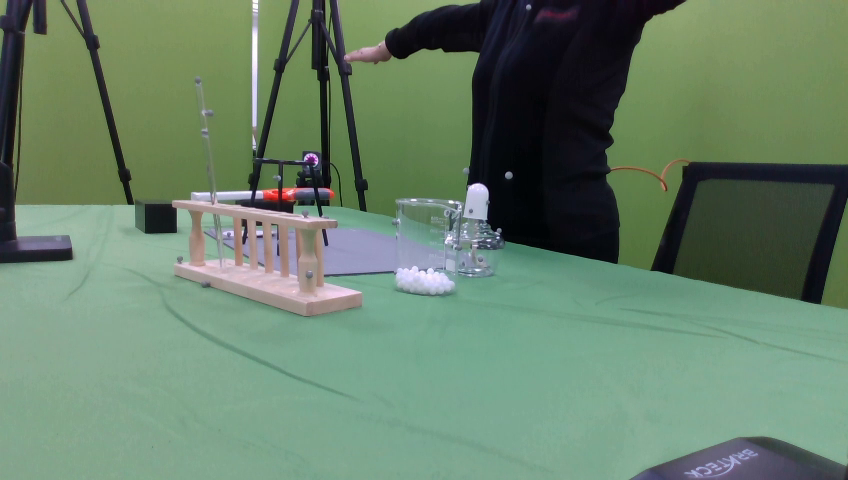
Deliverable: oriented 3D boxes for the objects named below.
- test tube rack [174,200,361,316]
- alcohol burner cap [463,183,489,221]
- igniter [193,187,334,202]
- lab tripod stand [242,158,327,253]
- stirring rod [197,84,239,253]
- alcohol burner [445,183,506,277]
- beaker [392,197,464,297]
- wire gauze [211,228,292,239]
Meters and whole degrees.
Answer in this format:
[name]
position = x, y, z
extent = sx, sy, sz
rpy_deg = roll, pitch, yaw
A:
[test tube rack]
position = -0.169, 0.009, 0.622
extent = 0.241, 0.085, 0.067
rpy_deg = 9, 9, 41
[alcohol burner cap]
position = 0.067, -0.049, 0.765
extent = 0.034, 0.048, 0.034
rpy_deg = 5, 5, 0
[igniter]
position = -0.316, -0.090, 1.213
extent = 0.278, 0.025, 0.057
rpy_deg = -5, 13, -31
[lab tripod stand]
position = -0.207, -0.054, 0.895
extent = 0.148, 0.131, 0.148
rpy_deg = 2, 5, 0
[stirring rod]
position = -0.212, -0.072, 0.625
extent = 0.006, 0.176, 0.014
rpy_deg = -14, 12, -22
[alcohol burner]
position = 0.066, -0.013, 0.771
extent = 0.078, 0.119, 0.078
rpy_deg = 0, 7, 0
[beaker]
position = 0.005, 0.007, 0.647
extent = 0.074, 0.100, 0.083
rpy_deg = -5, 11, -44
[wire gauze]
position = -0.298, -0.013, 1.039
extent = 0.122, 0.011, 0.124
rpy_deg = -2, 6, -27
